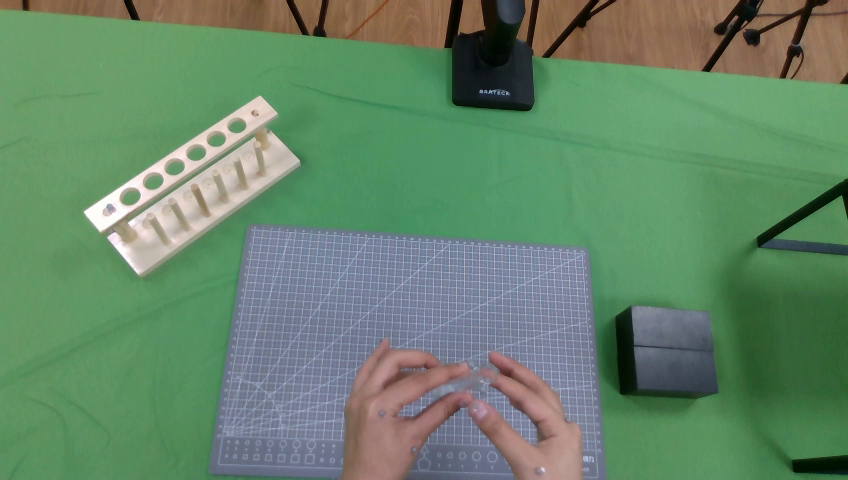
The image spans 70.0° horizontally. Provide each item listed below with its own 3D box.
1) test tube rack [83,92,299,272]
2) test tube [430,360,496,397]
[{"bbox_3d":[-0.272,-0.072,0.740,0.242,0.085,0.066,-40,78,-20],"label":"test tube rack"},{"bbox_3d":[0.030,0.123,0.529,0.017,0.150,0.017,5,70,-14],"label":"test tube"}]
